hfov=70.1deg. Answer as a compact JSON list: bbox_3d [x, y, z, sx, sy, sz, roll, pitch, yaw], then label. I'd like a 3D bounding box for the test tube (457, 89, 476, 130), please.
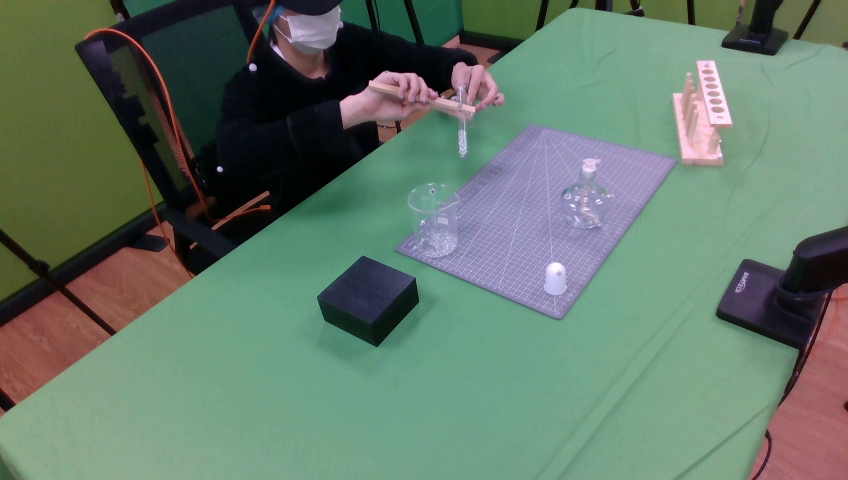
[{"bbox_3d":[0.079,-0.234,1.101,0.017,0.151,0.017,-3,77,12],"label":"test tube"}]

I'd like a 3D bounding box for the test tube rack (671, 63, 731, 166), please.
[{"bbox_3d":[0.513,-0.241,1.132,0.066,0.085,0.242,4,41,14],"label":"test tube rack"}]

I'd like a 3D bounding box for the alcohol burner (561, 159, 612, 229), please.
[{"bbox_3d":[0.257,-0.077,0.951,0.078,0.119,0.077,-3,40,3],"label":"alcohol burner"}]

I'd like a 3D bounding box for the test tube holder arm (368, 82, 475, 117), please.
[{"bbox_3d":[-0.002,-0.228,0.978,0.179,0.013,0.015,13,51,-13],"label":"test tube holder arm"}]

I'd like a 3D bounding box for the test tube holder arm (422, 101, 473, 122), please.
[{"bbox_3d":[0.038,-0.214,0.993,0.088,0.010,0.015,16,50,-17],"label":"test tube holder arm"}]

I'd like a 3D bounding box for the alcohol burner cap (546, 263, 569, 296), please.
[{"bbox_3d":[0.191,0.053,0.862,0.034,0.048,0.033,-5,40,4],"label":"alcohol burner cap"}]

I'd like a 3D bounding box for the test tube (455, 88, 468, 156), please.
[{"bbox_3d":[0.061,-0.194,0.984,0.017,0.017,0.149,-4,54,5],"label":"test tube"}]

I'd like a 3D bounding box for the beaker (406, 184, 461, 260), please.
[{"bbox_3d":[0.019,-0.026,0.939,0.084,0.101,0.074,1,41,9],"label":"beaker"}]
